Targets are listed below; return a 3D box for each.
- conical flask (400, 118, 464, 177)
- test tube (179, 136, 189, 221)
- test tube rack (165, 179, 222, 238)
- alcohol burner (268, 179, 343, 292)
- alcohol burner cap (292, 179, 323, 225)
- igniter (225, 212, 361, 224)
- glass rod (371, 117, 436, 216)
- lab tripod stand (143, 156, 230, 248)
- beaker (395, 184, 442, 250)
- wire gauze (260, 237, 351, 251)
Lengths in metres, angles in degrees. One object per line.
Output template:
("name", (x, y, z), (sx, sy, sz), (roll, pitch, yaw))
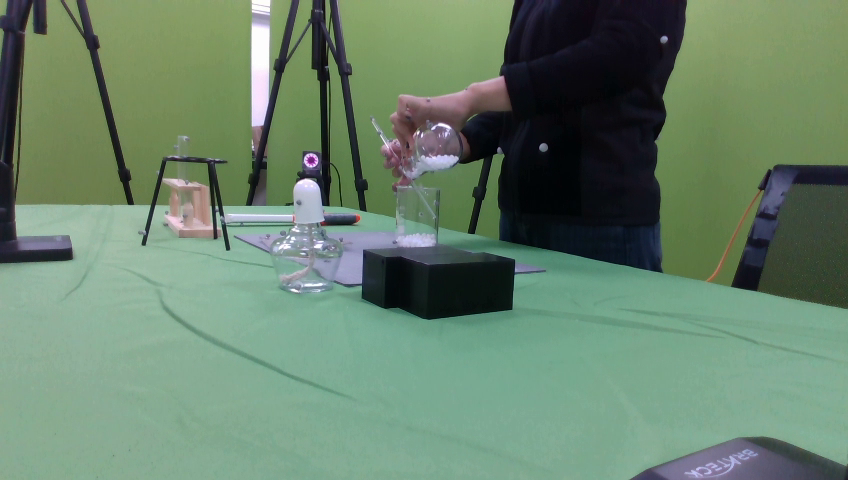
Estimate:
("conical flask", (0.003, -0.128, 0.909), (0.075, 0.075, 0.121), (-1, -10, -23))
("test tube", (-0.425, -0.108, 1.070), (0.017, 0.150, 0.017), (4, 9, 0))
("test tube rack", (-0.423, -0.062, 1.098), (0.067, 0.085, 0.241), (-2, 9, -28))
("alcohol burner", (-0.124, -0.005, 0.637), (0.078, 0.119, 0.078), (4, 8, 0))
("alcohol burner cap", (-0.124, -0.040, 0.632), (0.034, 0.048, 0.034), (-3, 10, 1))
("igniter", (-0.262, -0.045, 1.240), (0.278, 0.025, 0.057), (-2, -1, -31))
("glass rod", (-0.034, -0.120, 0.969), (0.008, 0.199, 0.008), (-30, -14, -8))
("lab tripod stand", (-0.338, -0.058, 0.908), (0.148, 0.131, 0.148), (4, 7, 0))
("beaker", (-0.009, -0.038, 0.968), (0.074, 0.100, 0.084), (6, 8, 21))
("wire gauze", (-0.185, 0.004, 0.938), (0.122, 0.011, 0.124), (-1, 5, -24))
